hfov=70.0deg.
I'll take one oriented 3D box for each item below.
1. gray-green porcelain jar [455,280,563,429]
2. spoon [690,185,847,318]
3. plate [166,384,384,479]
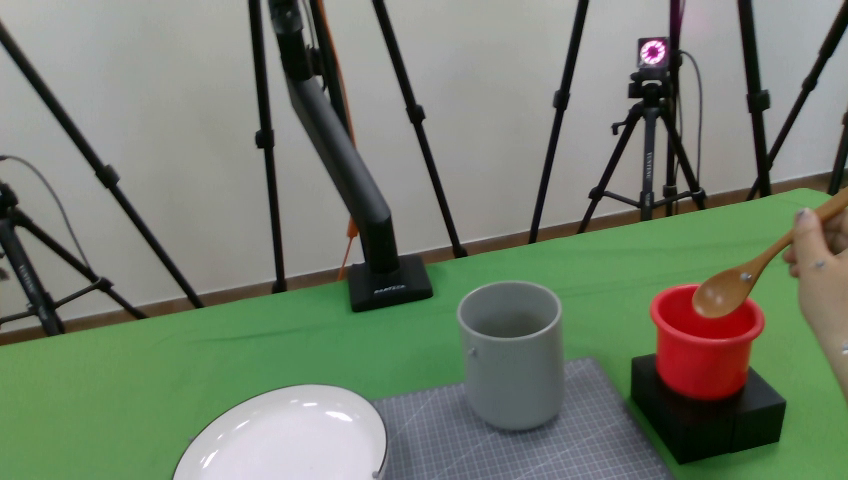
[{"bbox_3d":[0.090,0.122,0.627,0.106,0.127,0.105,-6,28,4],"label":"gray-green porcelain jar"},{"bbox_3d":[0.293,0.004,0.494,0.022,0.194,0.041,13,46,-19],"label":"spoon"},{"bbox_3d":[-0.140,0.224,0.589,0.207,0.039,0.206,-6,27,3],"label":"plate"}]
